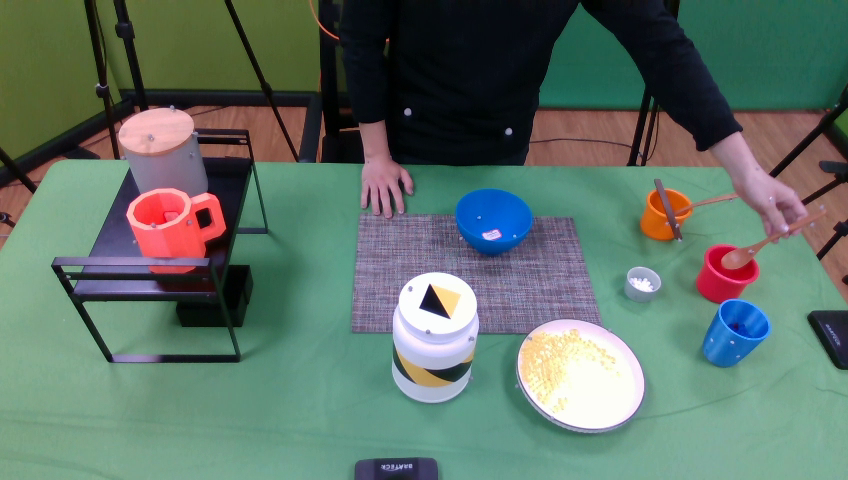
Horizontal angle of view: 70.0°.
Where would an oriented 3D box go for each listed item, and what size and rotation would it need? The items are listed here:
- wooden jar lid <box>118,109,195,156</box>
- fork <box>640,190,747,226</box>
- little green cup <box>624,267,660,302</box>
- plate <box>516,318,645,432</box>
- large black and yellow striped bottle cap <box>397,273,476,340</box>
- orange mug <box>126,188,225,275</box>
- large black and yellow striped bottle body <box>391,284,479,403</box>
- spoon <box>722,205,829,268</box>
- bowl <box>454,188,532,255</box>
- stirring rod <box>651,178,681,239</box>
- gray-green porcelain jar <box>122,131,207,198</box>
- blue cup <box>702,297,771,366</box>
[{"bbox_3d":[-0.400,-0.159,0.910,0.108,0.021,0.107,2,47,-2],"label":"wooden jar lid"},{"bbox_3d":[0.533,-0.064,1.211,0.207,0.019,0.028,-22,29,38],"label":"fork"},{"bbox_3d":[0.405,0.084,1.135,0.061,0.039,0.061,3,46,-3],"label":"little green cup"},{"bbox_3d":[0.253,0.221,0.992,0.209,0.038,0.208,2,46,-2],"label":"plate"},{"bbox_3d":[0.018,0.094,0.878,0.115,0.019,0.114,3,46,-3],"label":"large black and yellow striped bottle cap"},{"bbox_3d":[-0.357,-0.020,0.885,0.126,0.101,0.083,-29,54,-23],"label":"orange mug"},{"bbox_3d":[0.015,0.153,0.938,0.131,0.185,0.130,2,46,-2],"label":"large black and yellow striped bottle body"},{"bbox_3d":[0.618,-0.006,1.072,0.022,0.194,0.041,26,45,-20],"label":"spoon"},{"bbox_3d":[0.131,-0.025,1.187,0.151,0.077,0.150,3,45,-2],"label":"bowl"},{"bbox_3d":[0.479,-0.065,1.204,0.014,0.006,0.175,3,46,-3],"label":"stirring rod"},{"bbox_3d":[-0.404,-0.115,0.955,0.106,0.127,0.105,3,46,-3],"label":"gray-green porcelain jar"},{"bbox_3d":[0.519,0.162,1.025,0.093,0.101,0.092,3,45,-3],"label":"blue cup"}]
